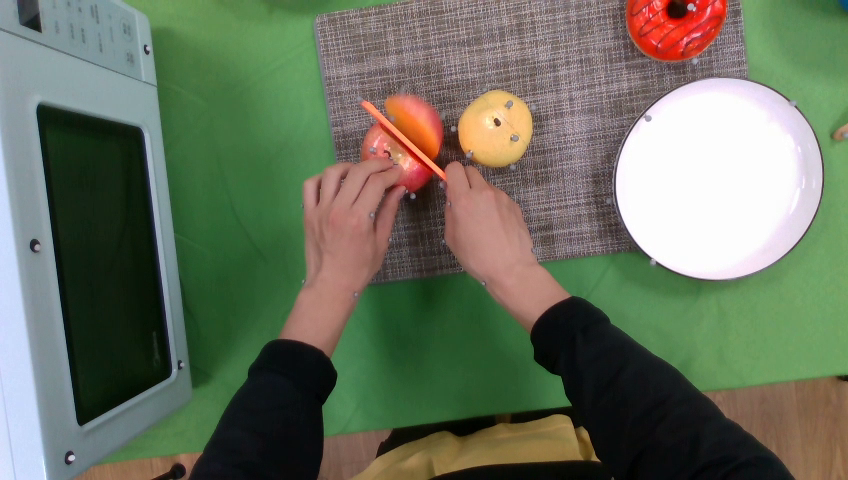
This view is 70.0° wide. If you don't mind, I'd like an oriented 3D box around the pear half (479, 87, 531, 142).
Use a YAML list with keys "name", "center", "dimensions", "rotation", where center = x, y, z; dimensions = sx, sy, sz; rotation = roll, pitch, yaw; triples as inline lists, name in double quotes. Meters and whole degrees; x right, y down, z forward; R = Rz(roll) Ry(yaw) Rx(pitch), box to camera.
- name: "pear half"
  center: [0.088, -0.134, 0.618]
  dimensions: [0.070, 0.088, 0.031]
  rotation: [42, 97, 6]

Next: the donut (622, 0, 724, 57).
- name: "donut"
  center: [0.253, -0.237, 0.619]
  dimensions: [0.099, 0.048, 0.099]
  rotation: [1, 96, 7]

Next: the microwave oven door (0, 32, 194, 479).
- name: "microwave oven door"
  center: [-0.307, 0.013, 0.570]
  dimensions: [0.039, 0.243, 0.356]
  rotation: [-5, 94, 5]

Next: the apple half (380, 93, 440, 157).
- name: "apple half"
  center: [-0.007, -0.126, 0.640]
  dimensions: [0.081, 0.081, 0.033]
  rotation: [43, 76, 1]

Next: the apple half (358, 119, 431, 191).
- name: "apple half"
  center: [-0.038, -0.082, 0.640]
  dimensions: [0.081, 0.074, 0.053]
  rotation: [41, 100, -4]

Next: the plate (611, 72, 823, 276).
- name: "plate"
  center: [0.299, -0.067, 0.632]
  dimensions: [0.209, 0.038, 0.209]
  rotation: [0, 95, 4]

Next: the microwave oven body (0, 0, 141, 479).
- name: "microwave oven body"
  center: [-0.455, -0.018, 0.584]
  dimensions: [0.326, 0.260, 0.442]
  rotation: [-5, 95, 5]

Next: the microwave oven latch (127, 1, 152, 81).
- name: "microwave oven latch"
  center: [-0.315, -0.213, 0.654]
  dimensions: [0.030, 0.029, 0.079]
  rotation: [-3, 95, 4]

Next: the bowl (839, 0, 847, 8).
- name: "bowl"
  center: [0.452, -0.281, 0.587]
  dimensions: [0.151, 0.077, 0.151]
  rotation: [0, 95, 5]

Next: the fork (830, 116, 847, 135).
- name: "fork"
  center: [0.502, -0.165, 0.587]
  dimensions: [0.207, 0.018, 0.028]
  rotation: [-36, 98, 27]

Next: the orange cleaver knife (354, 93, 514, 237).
- name: "orange cleaver knife"
  center: [0.009, -0.078, 0.623]
  dimensions: [0.212, 0.077, 0.012]
  rotation: [41, 94, -11]

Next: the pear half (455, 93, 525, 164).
- name: "pear half"
  center: [0.062, -0.109, 0.612]
  dimensions: [0.076, 0.110, 0.056]
  rotation: [42, 96, 5]
